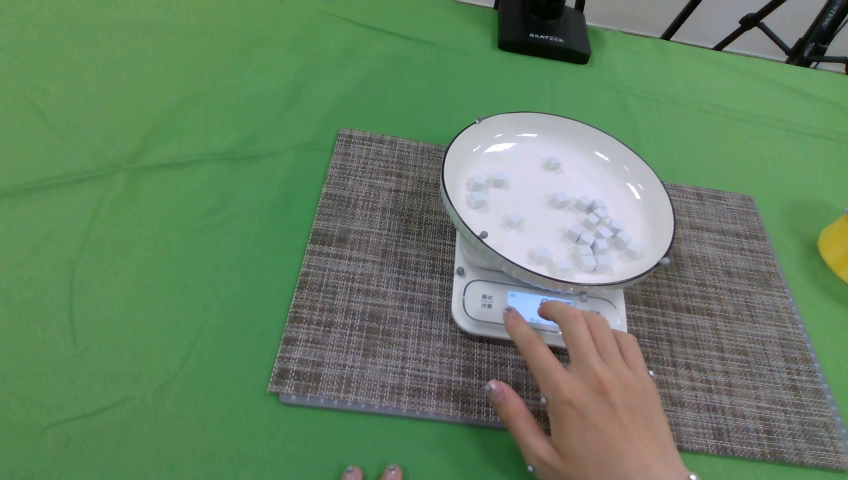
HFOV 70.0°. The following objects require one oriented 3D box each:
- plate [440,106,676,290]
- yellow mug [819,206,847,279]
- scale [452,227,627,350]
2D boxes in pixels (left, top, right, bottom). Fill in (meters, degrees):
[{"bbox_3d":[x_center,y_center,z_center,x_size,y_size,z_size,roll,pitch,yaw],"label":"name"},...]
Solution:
[{"bbox_3d":[0.115,-0.039,0.536,0.209,0.038,0.207,6,50,-7],"label":"plate"},{"bbox_3d":[0.460,0.008,0.591,0.100,0.064,0.129,7,51,-5],"label":"yellow mug"},{"bbox_3d":[0.103,-0.001,0.545,0.149,0.032,0.199,9,50,-3],"label":"scale"}]
